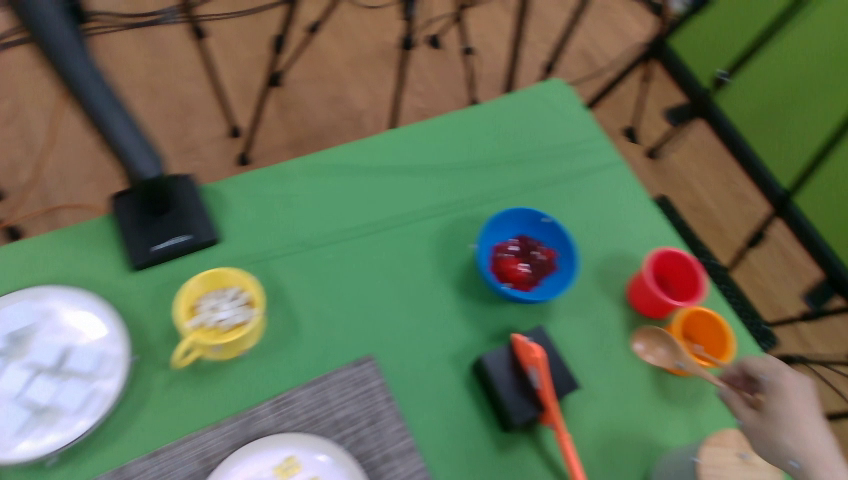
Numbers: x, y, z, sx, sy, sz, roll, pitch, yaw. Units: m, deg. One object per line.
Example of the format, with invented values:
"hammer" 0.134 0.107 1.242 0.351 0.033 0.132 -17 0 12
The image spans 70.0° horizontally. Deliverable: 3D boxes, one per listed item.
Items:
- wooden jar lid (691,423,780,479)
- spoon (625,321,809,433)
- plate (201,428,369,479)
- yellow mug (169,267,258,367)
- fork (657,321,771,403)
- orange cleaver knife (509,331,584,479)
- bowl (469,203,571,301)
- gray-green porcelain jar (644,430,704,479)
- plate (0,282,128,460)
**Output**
"wooden jar lid" 0.362 0.271 0.710 0.108 0.021 0.107 5 61 -8
"spoon" 0.302 0.145 0.638 0.192 0.022 0.041 32 85 35
"plate" -0.158 0.320 0.682 0.210 0.038 0.207 6 62 -11
"yellow mug" -0.271 0.104 0.759 0.100 0.064 0.130 31 60 5
"fork" 0.394 0.165 0.835 0.028 0.019 0.205 -7 20 -16
"orange cleaver knife" 0.157 0.218 0.790 0.012 0.077 0.211 -21 93 -18
"bowl" 0.130 0.030 0.886 0.152 0.077 0.150 6 62 -10
"gray-green porcelain jar" 0.349 0.302 0.765 0.106 0.127 0.105 6 61 -10
"plate" -0.456 0.151 0.706 0.208 0.039 0.206 6 61 -10
